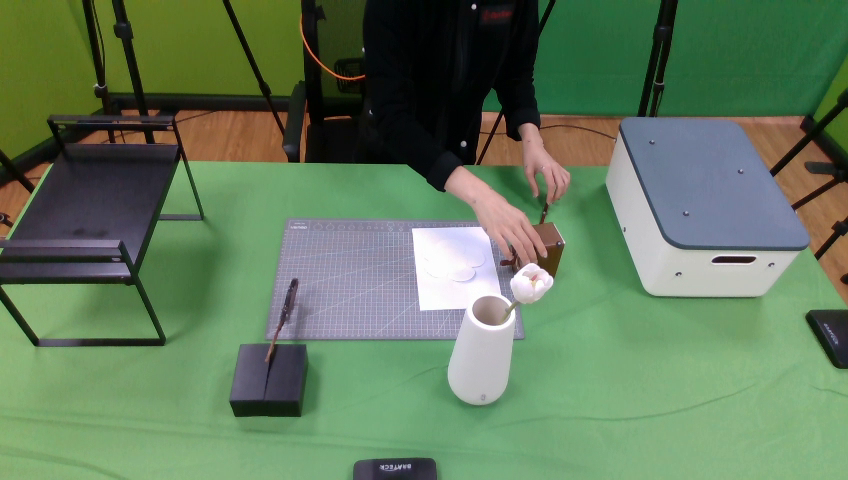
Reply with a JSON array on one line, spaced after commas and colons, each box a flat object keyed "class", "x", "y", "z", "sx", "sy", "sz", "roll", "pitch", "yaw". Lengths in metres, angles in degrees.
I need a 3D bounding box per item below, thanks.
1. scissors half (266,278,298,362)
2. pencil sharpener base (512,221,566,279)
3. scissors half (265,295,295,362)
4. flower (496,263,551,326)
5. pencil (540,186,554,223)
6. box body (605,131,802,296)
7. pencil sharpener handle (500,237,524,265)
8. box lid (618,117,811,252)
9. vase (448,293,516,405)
[{"class": "scissors half", "x": -0.234, "y": 0.127, "z": 0.993, "sx": 0.013, "sy": 0.040, "sz": 0.174, "roll": 12, "pitch": 46, "yaw": -4}, {"class": "pencil sharpener base", "x": 0.209, "y": 0.025, "z": 1.130, "sx": 0.077, "sy": 0.107, "sz": 0.061, "roll": -9, "pitch": 48, "yaw": -12}, {"class": "scissors half", "x": -0.239, "y": 0.143, "z": 1.005, "sx": 0.013, "sy": 0.040, "sz": 0.174, "roll": 17, "pitch": 28, "yaw": -6}, {"class": "flower", "x": 0.102, "y": 0.121, "z": 0.853, "sx": 0.044, "sy": 0.363, "sz": 0.038, "roll": -2, "pitch": 64, "yaw": -10}, {"class": "pencil", "x": 0.250, "y": -0.048, "z": 1.273, "sx": 0.012, "sy": 0.012, "sz": 0.193, "roll": 16, "pitch": 49, "yaw": 11}, {"class": "box body", "x": 0.530, "y": -0.067, "z": 1.204, "sx": 0.254, "sy": 0.161, "sz": 0.361, "roll": 0, "pitch": 46, "yaw": -4}, {"class": "pencil sharpener handle", "x": 0.159, "y": 0.024, "z": 1.111, "sx": 0.031, "sy": 0.068, "sz": 0.035, "roll": -9, "pitch": 53, "yaw": -12}, {"class": "box lid", "x": 0.534, "y": -0.117, "z": 1.148, "sx": 0.263, "sy": 0.015, "sz": 0.369, "roll": 0, "pitch": 47, "yaw": -3}, {"class": "vase", "x": 0.091, "y": 0.169, "z": 0.921, "sx": 0.098, "sy": 0.201, "sz": 0.097, "roll": 3, "pitch": 47, "yaw": -3}]
